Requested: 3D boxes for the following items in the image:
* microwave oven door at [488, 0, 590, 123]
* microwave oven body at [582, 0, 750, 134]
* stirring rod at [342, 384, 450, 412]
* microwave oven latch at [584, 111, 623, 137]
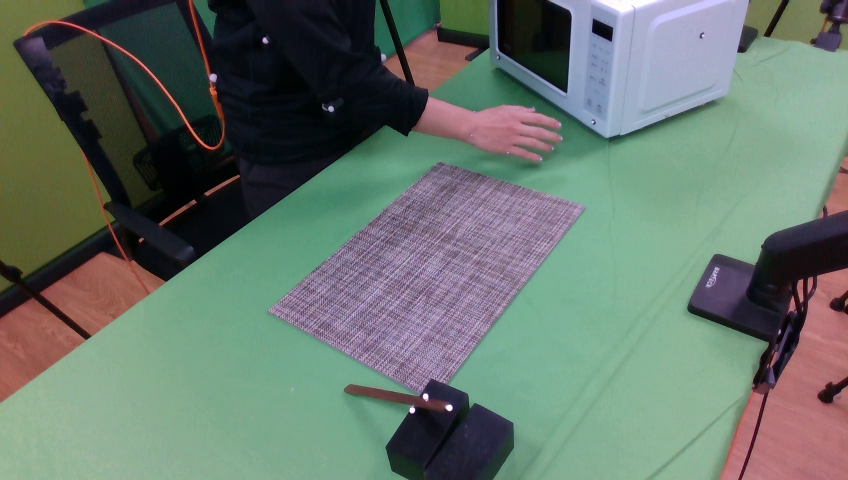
[{"bbox_3d":[0.232,-0.420,1.231,0.039,0.245,0.352,-21,42,-16],"label":"microwave oven door"},{"bbox_3d":[0.382,-0.444,1.246,0.327,0.261,0.437,-22,42,-16],"label":"microwave oven body"},{"bbox_3d":[-0.038,0.185,0.714,0.175,0.006,0.014,-3,22,43],"label":"stirring rod"},{"bbox_3d":[0.337,-0.222,1.142,0.030,0.029,0.078,-21,42,-14],"label":"microwave oven latch"}]
